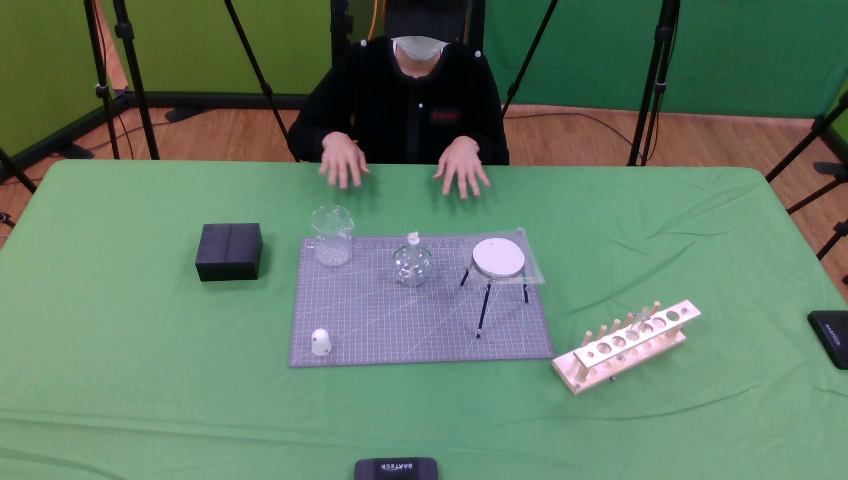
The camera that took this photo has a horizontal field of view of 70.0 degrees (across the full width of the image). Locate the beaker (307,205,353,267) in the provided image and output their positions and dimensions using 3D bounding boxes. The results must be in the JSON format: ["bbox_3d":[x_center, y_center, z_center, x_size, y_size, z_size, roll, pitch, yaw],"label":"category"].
[{"bbox_3d":[-0.172,-0.004,1.131,0.084,0.101,0.073,15,47,8],"label":"beaker"}]

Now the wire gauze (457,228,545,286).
[{"bbox_3d":[0.126,0.029,1.006,0.125,0.011,0.120,-4,46,-10],"label":"wire gauze"}]

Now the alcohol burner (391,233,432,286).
[{"bbox_3d":[-0.022,0.028,1.102,0.078,0.119,0.077,2,48,-2],"label":"alcohol burner"}]

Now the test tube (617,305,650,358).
[{"bbox_3d":[0.333,0.149,0.967,0.017,0.151,0.017,0,52,1],"label":"test tube"}]

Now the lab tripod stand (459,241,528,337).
[{"bbox_3d":[0.122,0.075,1.054,0.148,0.132,0.147,3,44,-3],"label":"lab tripod stand"}]

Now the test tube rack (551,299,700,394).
[{"bbox_3d":[0.339,0.166,1.021,0.242,0.085,0.066,-19,50,-21],"label":"test tube rack"}]

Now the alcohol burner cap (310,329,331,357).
[{"bbox_3d":[-0.173,0.168,1.004,0.034,0.048,0.033,2,46,-2],"label":"alcohol burner cap"}]
